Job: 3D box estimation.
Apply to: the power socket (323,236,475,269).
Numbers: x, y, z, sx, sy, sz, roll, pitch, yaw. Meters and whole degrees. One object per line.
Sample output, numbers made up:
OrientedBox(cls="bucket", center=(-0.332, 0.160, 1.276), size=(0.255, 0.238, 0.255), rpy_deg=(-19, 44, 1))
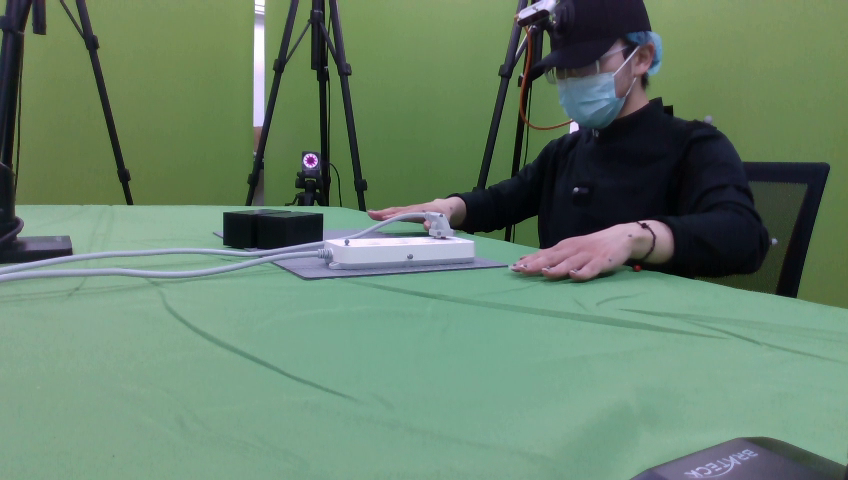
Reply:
OrientedBox(cls="power socket", center=(-0.030, 0.014, 0.823), size=(0.228, 0.032, 0.072), rpy_deg=(-2, 8, -31))

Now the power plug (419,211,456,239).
OrientedBox(cls="power plug", center=(0.020, -0.015, 0.884), size=(0.035, 0.052, 0.072), rpy_deg=(-1, 7, -20))
